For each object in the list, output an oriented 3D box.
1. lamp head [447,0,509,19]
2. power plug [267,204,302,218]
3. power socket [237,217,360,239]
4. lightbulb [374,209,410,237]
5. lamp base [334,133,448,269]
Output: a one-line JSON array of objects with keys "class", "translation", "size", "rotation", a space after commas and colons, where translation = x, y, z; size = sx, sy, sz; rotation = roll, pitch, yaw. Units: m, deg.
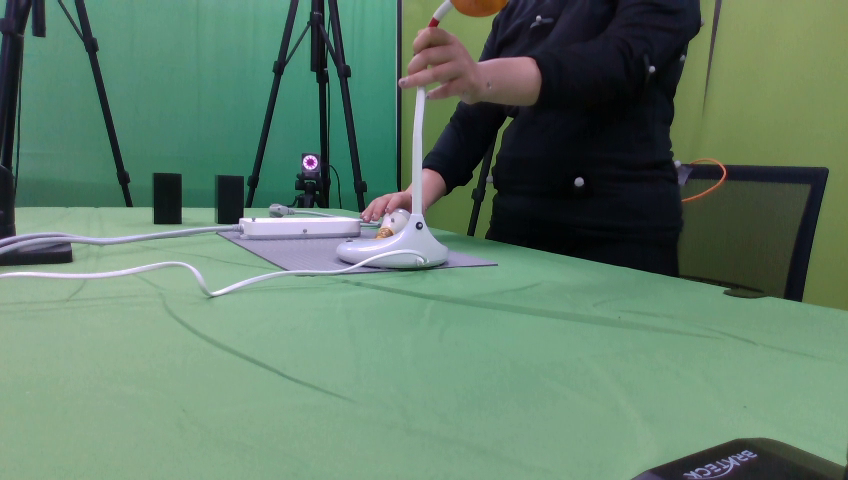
[{"class": "lamp head", "translation": [0.062, -0.323, 0.704], "size": [0.112, 0.122, 0.112], "rotation": [5, -3, 1]}, {"class": "power plug", "translation": [-0.327, -0.061, 1.404], "size": [0.073, 0.035, 0.052], "rotation": [22, -14, -26]}, {"class": "power socket", "translation": [-0.220, -0.023, 1.080], "size": [0.228, 0.032, 0.072], "rotation": [-2, 8, -32]}, {"class": "lightbulb", "translation": [-0.055, -0.016, 1.023], "size": [0.059, 0.059, 0.108], "rotation": [5, 23, 19]}, {"class": "lamp base", "translation": [-0.034, -0.057, 0.831], "size": [0.161, 0.180, 0.178], "rotation": [-2, 11, -36]}]
